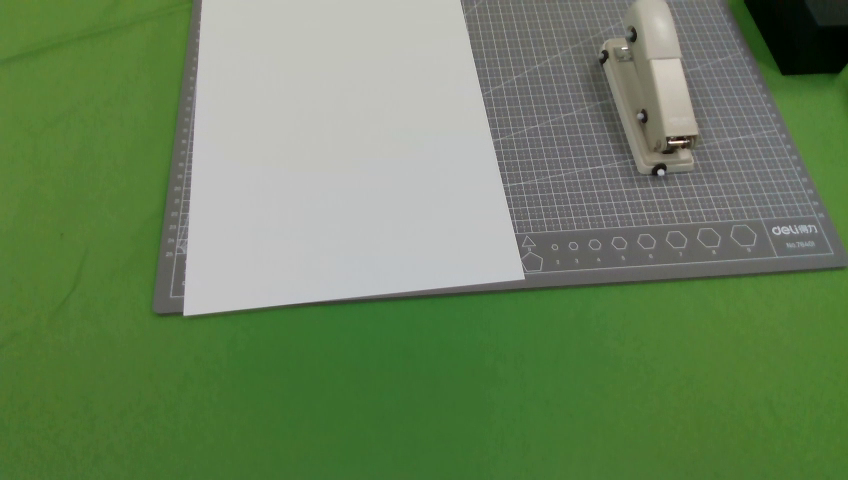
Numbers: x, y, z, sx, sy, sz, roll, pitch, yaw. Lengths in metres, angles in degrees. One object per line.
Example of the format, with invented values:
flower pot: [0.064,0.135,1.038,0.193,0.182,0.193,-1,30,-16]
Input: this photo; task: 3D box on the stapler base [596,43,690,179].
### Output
stapler base: [0.164,-0.105,0.454,0.041,0.024,0.129,-6,63,-3]

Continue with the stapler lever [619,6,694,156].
stapler lever: [0.166,-0.116,0.431,0.027,0.040,0.117,-6,63,-3]
